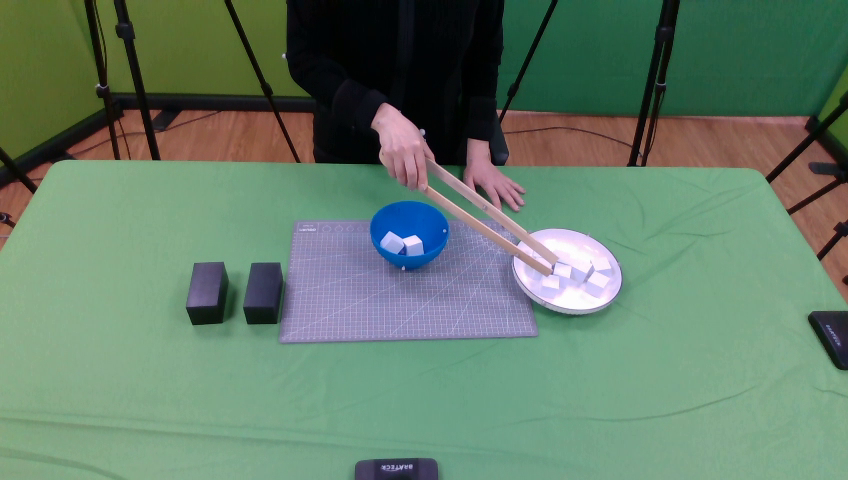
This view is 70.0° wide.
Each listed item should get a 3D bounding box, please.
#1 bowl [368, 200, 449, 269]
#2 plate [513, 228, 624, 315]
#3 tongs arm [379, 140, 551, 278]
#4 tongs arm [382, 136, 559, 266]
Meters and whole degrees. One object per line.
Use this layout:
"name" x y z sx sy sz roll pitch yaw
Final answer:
"bowl" -0.031 0.002 1.151 0.151 0.077 0.150 2 46 -2
"plate" 0.268 0.063 1.146 0.208 0.039 0.206 3 46 -3
"tongs arm" 0.068 -0.054 1.093 0.387 0.028 0.028 37 57 5
"tongs arm" 0.081 -0.070 1.109 0.384 0.026 0.050 40 54 7
